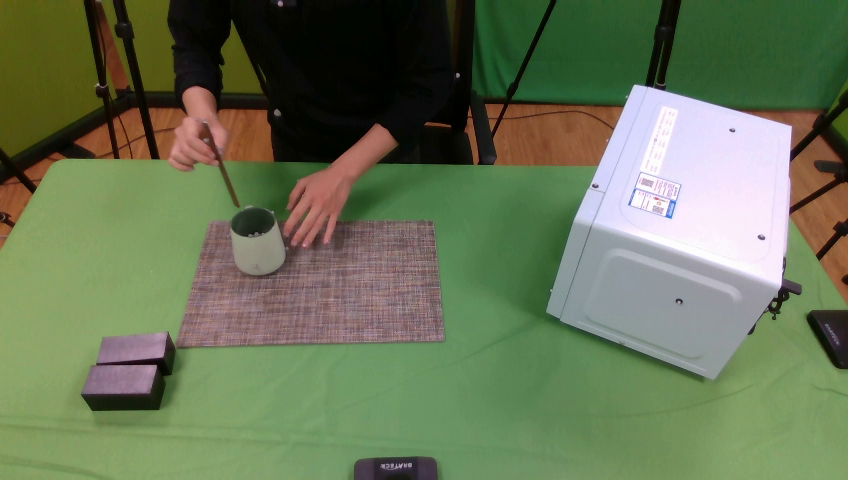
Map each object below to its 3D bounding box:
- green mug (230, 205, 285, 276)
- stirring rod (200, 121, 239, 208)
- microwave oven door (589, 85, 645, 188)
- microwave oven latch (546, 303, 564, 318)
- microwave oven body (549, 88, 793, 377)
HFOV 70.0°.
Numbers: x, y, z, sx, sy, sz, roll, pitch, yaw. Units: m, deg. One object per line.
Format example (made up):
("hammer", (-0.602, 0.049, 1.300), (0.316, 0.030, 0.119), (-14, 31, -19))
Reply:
("green mug", (-0.311, -0.008, 1.118), (0.092, 0.105, 0.124), (-14, 49, -16))
("stirring rod", (-0.328, -0.118, 0.978), (0.014, 0.177, 0.006), (29, 55, 29))
("microwave oven door", (0.342, -0.107, 1.148), (0.039, 0.245, 0.354), (20, 48, 15))
("microwave oven latch", (0.242, 0.102, 1.081), (0.030, 0.029, 0.079), (21, 48, 17))
("microwave oven body", (0.456, -0.028, 1.088), (0.325, 0.261, 0.440), (20, 47, 16))
